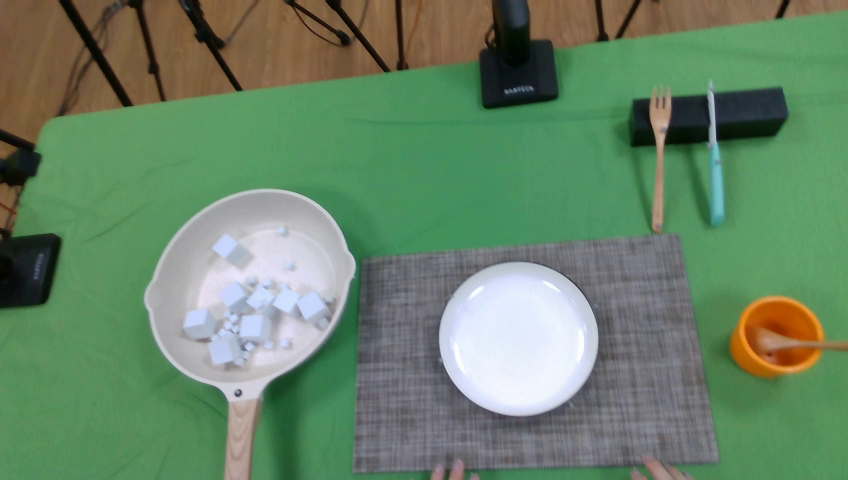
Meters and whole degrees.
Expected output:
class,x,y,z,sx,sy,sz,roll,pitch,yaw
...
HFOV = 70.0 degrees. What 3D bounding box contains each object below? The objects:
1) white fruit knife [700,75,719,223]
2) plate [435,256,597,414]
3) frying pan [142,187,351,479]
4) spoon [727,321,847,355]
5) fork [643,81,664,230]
class,x,y,z,sx,sy,sz,roll,pitch,yaw
white fruit knife,0.389,-0.127,0.832,0.016,0.027,0.206,-2,83,8
plate,0.119,0.124,0.798,0.207,0.039,0.206,-4,68,9
frying pan,-0.240,0.154,0.817,0.306,0.104,0.483,-8,58,8
spoon,0.435,0.113,0.683,0.193,0.022,0.041,-8,64,52
fork,0.318,-0.117,0.842,0.028,0.018,0.207,2,87,3
